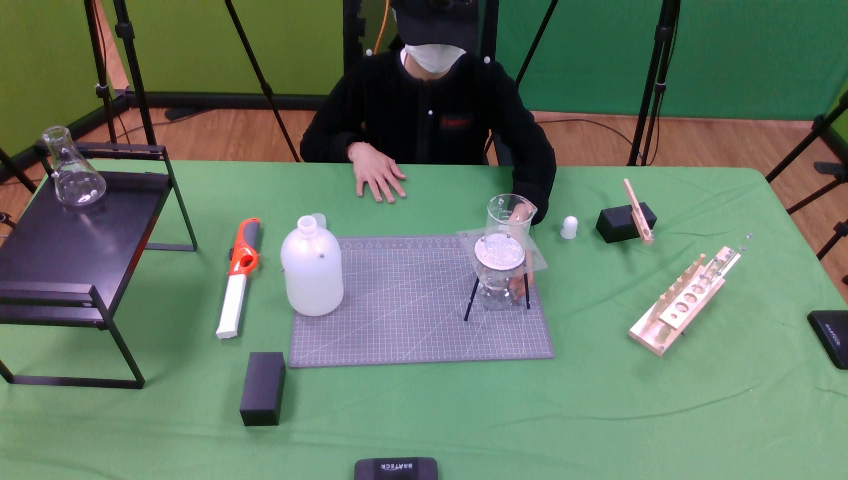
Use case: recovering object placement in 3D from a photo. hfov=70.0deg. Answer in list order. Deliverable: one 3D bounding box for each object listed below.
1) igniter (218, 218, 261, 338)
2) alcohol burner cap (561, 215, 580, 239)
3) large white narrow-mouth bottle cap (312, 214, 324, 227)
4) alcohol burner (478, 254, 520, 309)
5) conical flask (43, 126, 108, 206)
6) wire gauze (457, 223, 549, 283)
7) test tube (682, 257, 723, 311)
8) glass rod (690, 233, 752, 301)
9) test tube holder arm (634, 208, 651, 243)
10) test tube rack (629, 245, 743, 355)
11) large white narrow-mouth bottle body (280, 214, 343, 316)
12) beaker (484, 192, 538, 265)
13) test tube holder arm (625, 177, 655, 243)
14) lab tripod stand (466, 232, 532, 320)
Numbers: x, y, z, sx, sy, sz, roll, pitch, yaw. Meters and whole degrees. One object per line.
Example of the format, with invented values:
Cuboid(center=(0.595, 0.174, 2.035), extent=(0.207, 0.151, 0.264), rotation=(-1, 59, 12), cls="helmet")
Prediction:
Cuboid(center=(-0.336, 0.060, 1.112), extent=(0.057, 0.025, 0.274), rotation=(-7, 46, 3), cls="igniter")
Cuboid(center=(0.299, -0.030, 1.230), extent=(0.034, 0.048, 0.033), rotation=(1, 46, 0), cls="alcohol burner cap")
Cuboid(center=(-0.219, -0.033, 1.214), extent=(0.038, 0.024, 0.037), rotation=(2, 46, -2), cls="large white narrow-mouth bottle cap")
Cuboid(center=(0.133, 0.068, 1.071), extent=(0.078, 0.120, 0.077), rotation=(0, 47, 0), cls="alcohol burner")
Cuboid(center=(-0.555, -0.119, 0.953), extent=(0.075, 0.122, 0.075), rotation=(2, 46, -2), cls="conical flask")
Cuboid(center=(0.131, 0.016, 1.017), extent=(0.121, 0.011, 0.124), rotation=(-10, 44, -16), cls="wire gauze")
Cuboid(center=(0.474, 0.080, 1.037), extent=(0.017, 0.151, 0.017), rotation=(1, 50, -1), cls="test tube")
Cuboid(center=(0.507, 0.053, 1.041), extent=(0.008, 0.200, 0.008), rotation=(5, 51, -6), cls="glass rod")
Cuboid(center=(0.428, -0.030, 1.189), extent=(0.010, 0.015, 0.087), rotation=(1, 47, -2), cls="test tube holder arm")
Cuboid(center=(0.474, 0.095, 1.091), extent=(0.242, 0.085, 0.066), rotation=(-34, 56, -31), cls="test tube rack")
Cuboid(center=(-0.190, 0.035, 1.025), extent=(0.102, 0.195, 0.101), rotation=(2, 46, -2), cls="large white narrow-mouth bottle body")
Cuboid(center=(0.137, -0.016, 0.980), extent=(0.084, 0.101, 0.073), rotation=(-6, 45, -9), cls="beaker")
Cuboid(center=(0.433, -0.062, 1.220), extent=(0.013, 0.015, 0.177), rotation=(1, 47, -3), cls="test tube holder arm")
Cuboid(center=(0.125, 0.059, 1.065), extent=(0.148, 0.132, 0.147), rotation=(1, 45, 0), cls="lab tripod stand")
